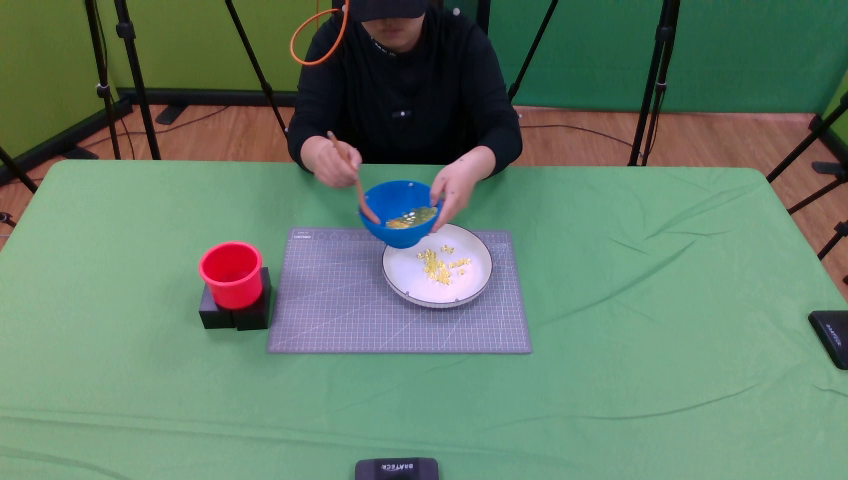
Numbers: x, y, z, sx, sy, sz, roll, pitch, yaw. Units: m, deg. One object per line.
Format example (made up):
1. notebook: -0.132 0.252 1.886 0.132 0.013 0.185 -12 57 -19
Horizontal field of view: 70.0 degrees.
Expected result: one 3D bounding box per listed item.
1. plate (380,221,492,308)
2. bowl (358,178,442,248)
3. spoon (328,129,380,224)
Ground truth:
1. plate: 0.022 0.048 1.137 0.208 0.039 0.206 2 46 -2
2. bowl: -0.041 -0.038 1.103 0.151 0.077 0.150 -1 40 1
3. spoon: -0.119 -0.106 1.041 0.021 0.195 0.041 -18 31 5
